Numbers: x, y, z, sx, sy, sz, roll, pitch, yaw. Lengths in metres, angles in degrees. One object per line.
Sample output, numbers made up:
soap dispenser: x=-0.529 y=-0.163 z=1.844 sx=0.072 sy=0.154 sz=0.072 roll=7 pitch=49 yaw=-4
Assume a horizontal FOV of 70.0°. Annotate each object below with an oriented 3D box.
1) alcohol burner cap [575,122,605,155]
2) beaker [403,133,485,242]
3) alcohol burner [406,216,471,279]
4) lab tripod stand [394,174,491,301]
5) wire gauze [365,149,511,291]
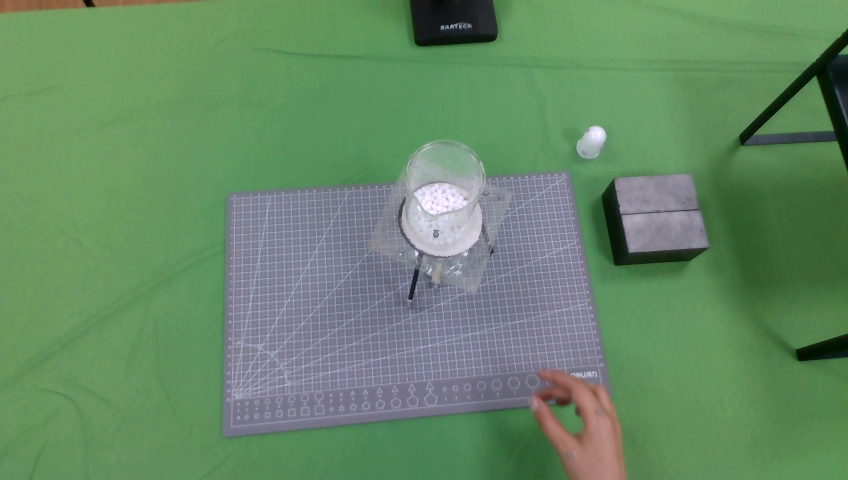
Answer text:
alcohol burner cap: x=0.223 y=-0.137 z=0.807 sx=0.034 sy=0.048 sz=0.033 roll=1 pitch=70 yaw=-2
beaker: x=0.015 y=-0.044 z=0.591 sx=0.074 sy=0.101 sz=0.083 roll=19 pitch=71 yaw=4
alcohol burner: x=0.019 y=0.004 z=0.707 sx=0.078 sy=0.119 sz=0.077 roll=1 pitch=72 yaw=-4
lab tripod stand: x=0.015 y=-0.010 z=0.700 sx=0.148 sy=0.132 sz=0.147 roll=1 pitch=69 yaw=-3
wire gauze: x=0.017 y=-0.025 z=0.637 sx=0.125 sy=0.011 sz=0.121 roll=24 pitch=73 yaw=2
